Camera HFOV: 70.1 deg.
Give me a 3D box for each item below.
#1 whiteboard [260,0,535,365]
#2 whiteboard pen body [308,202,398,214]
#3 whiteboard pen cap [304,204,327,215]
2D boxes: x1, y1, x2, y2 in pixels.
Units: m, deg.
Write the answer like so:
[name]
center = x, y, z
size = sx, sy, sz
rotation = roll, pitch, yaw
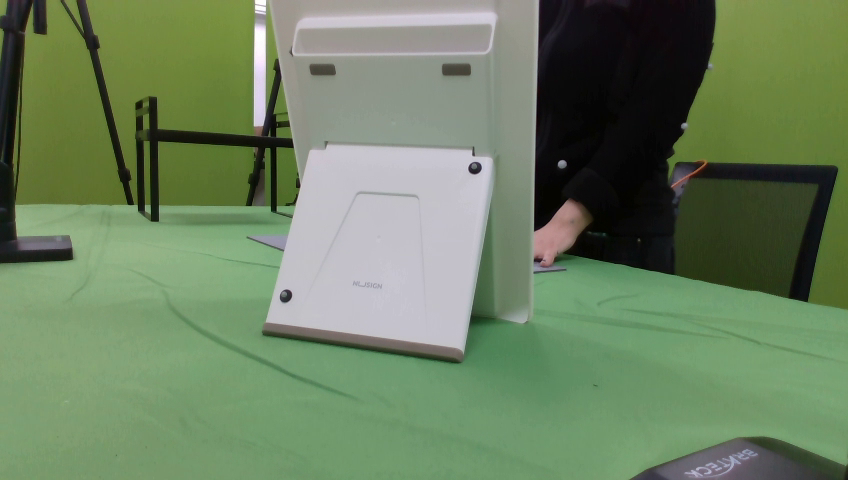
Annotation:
[whiteboard]
center = -0.037, -0.041, 0.457
size = 0.216, 0.305, 0.144
rotation = 5, 28, 19
[whiteboard pen body]
center = -0.108, -0.049, 0.932
size = 0.141, 0.017, 0.017
rotation = -3, 9, -21
[whiteboard pen cap]
center = -0.163, -0.046, 0.911
size = 0.033, 0.018, 0.018
rotation = -3, 9, -20
